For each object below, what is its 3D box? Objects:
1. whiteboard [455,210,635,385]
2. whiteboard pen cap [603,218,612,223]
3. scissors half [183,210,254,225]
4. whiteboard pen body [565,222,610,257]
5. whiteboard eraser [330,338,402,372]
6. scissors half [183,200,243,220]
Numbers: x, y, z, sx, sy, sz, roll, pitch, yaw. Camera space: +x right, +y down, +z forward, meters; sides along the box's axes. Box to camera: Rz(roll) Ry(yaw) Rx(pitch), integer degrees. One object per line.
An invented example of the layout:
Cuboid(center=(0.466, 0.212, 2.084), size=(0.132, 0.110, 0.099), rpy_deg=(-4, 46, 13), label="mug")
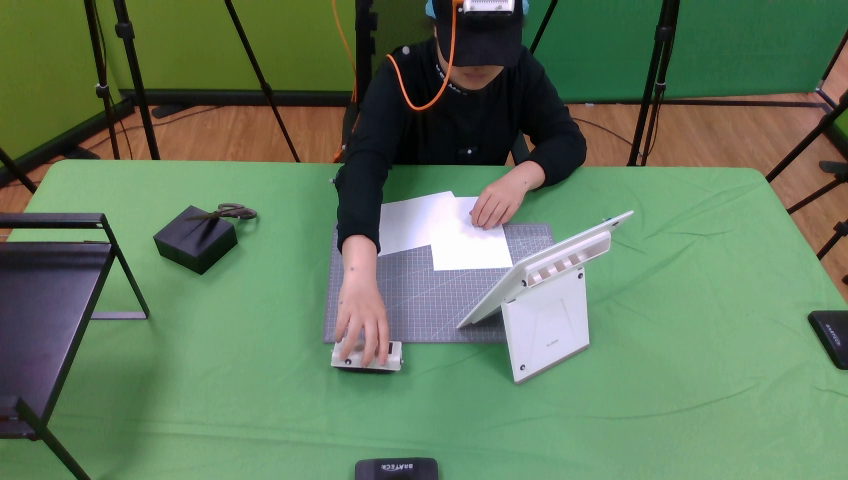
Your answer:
Cuboid(center=(0.211, 0.111, 0.955), size=(0.217, 0.306, 0.143), rpy_deg=(-21, 72, -23), label="whiteboard")
Cuboid(center=(0.379, -0.031, 1.255), size=(0.033, 0.018, 0.018), rpy_deg=(-33, 57, -29), label="whiteboard pen cap")
Cuboid(center=(-0.390, -0.042, 1.158), size=(0.040, 0.013, 0.175), rpy_deg=(43, 21, 21), label="scissors half")
Cuboid(center=(0.335, -0.004, 1.228), size=(0.141, 0.017, 0.017), rpy_deg=(-33, 56, -29), label="whiteboard pen body")
Cuboid(center=(-0.094, 0.190, 0.991), size=(0.113, 0.042, 0.055), rpy_deg=(3, 24, 0), label="whiteboard eraser")
Cuboid(center=(-0.405, -0.054, 1.163), size=(0.040, 0.013, 0.175), rpy_deg=(31, 18, 6), label="scissors half")
